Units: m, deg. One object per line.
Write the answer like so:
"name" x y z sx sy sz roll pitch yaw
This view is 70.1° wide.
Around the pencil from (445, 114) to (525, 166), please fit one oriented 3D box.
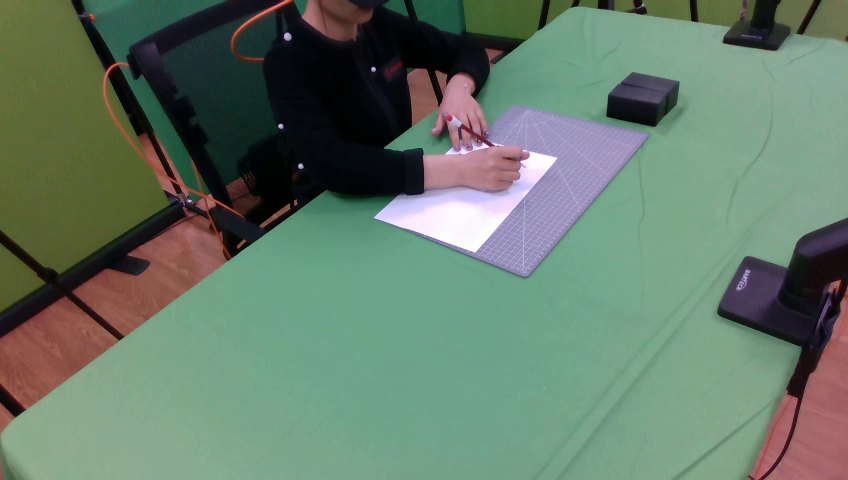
"pencil" 0.110 -0.167 1.036 0.012 0.196 0.012 -31 46 40
